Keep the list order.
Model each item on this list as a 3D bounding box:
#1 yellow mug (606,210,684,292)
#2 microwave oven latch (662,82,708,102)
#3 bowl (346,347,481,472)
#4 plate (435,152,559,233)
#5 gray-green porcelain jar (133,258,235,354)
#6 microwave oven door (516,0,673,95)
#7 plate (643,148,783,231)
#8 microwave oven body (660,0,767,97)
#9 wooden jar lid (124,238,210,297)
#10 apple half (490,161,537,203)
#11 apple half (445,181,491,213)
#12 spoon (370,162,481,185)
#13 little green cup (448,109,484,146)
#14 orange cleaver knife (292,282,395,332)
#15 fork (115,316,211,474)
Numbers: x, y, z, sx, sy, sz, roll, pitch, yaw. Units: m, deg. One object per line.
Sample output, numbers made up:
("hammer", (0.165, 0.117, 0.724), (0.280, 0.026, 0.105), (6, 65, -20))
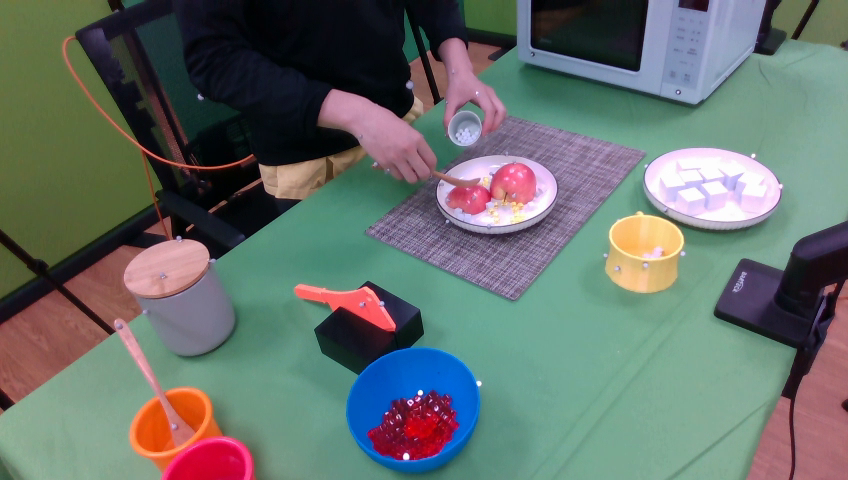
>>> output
("yellow mug", (0.318, 0.007, 0.883), (0.100, 0.064, 0.130), (0, 41, 8))
("microwave oven latch", (0.517, -0.298, 1.203), (0.078, 0.029, 0.030), (28, 52, 35))
("bowl", (-0.008, 0.205, 0.691), (0.151, 0.077, 0.150), (-4, 40, 4))
("plate", (0.123, -0.078, 1.026), (0.209, 0.038, 0.208), (-4, 40, 4))
("gray-green porcelain jar", (-0.327, 0.086, 0.836), (0.106, 0.127, 0.105), (-4, 41, 4))
("microwave oven door", (0.344, -0.458, 1.256), (0.353, 0.245, 0.039), (26, 51, 33))
("plate", (0.464, -0.080, 0.986), (0.207, 0.039, 0.206), (-4, 41, 4))
("microwave oven body", (0.474, -0.517, 1.314), (0.438, 0.261, 0.327), (26, 52, 34))
("wooden jar lid", (-0.335, 0.039, 0.794), (0.108, 0.021, 0.108), (-2, 40, 2))
("apple half", (0.154, -0.106, 1.030), (0.080, 0.053, 0.075), (22, 46, 31))
("apple half", (0.077, -0.084, 1.029), (0.081, 0.033, 0.081), (-2, 42, 2))
("spoon", (0.005, -0.106, 0.941), (0.195, 0.021, 0.041), (8, -10, -28))
("little green cup", (0.074, -0.192, 1.047), (0.061, 0.039, 0.061), (-1, 81, 9))
("orange cleaver knife", (-0.116, 0.091, 0.835), (0.209, 0.077, 0.012), (2, 32, 48))
("fork", (-0.308, 0.179, 0.708), (0.028, 0.018, 0.207), (-30, 89, -22))
